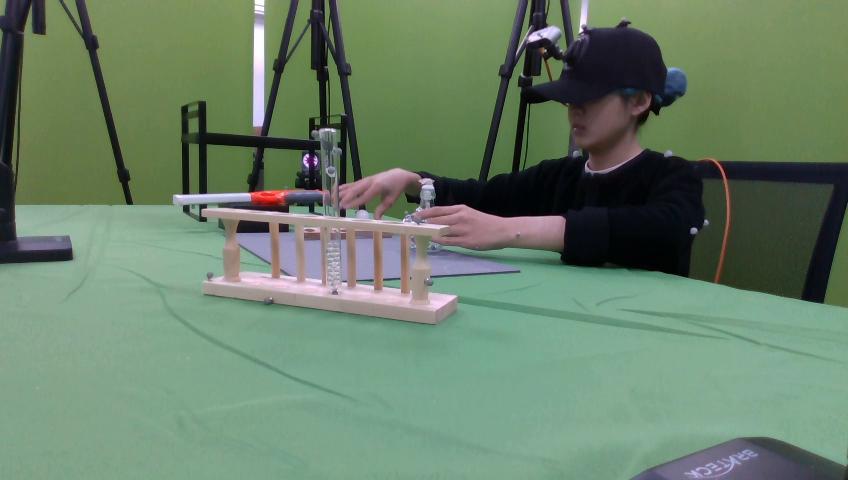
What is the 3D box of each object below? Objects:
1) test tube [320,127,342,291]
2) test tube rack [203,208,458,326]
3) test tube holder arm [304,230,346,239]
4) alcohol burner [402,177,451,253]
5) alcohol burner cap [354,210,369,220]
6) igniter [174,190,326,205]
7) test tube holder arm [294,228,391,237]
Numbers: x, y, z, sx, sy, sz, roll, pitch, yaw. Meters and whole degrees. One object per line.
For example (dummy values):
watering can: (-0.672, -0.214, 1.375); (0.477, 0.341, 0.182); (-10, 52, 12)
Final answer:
test tube: (-0.084, -0.027, 0.554); (0.017, 0.150, 0.017); (-1, 7, 0)
test tube rack: (-0.090, 0.019, 0.579); (0.241, 0.085, 0.067); (5, 7, 19)
test tube holder arm: (-0.175, -0.009, 1.026); (0.088, 0.015, 0.010); (0, 42, -31)
alcohol burner: (0.004, -0.039, 0.952); (0.078, 0.119, 0.078); (5, 7, 0)
alcohol burner cap: (-0.118, -0.033, 1.133); (0.034, 0.048, 0.034); (1, 9, 0)
igniter: (-0.317, -0.079, 1.132); (0.278, 0.025, 0.057); (-4, 12, -32)
test tube holder arm: (-0.138, -0.013, 1.054); (0.179, 0.015, 0.013); (0, 43, -32)
